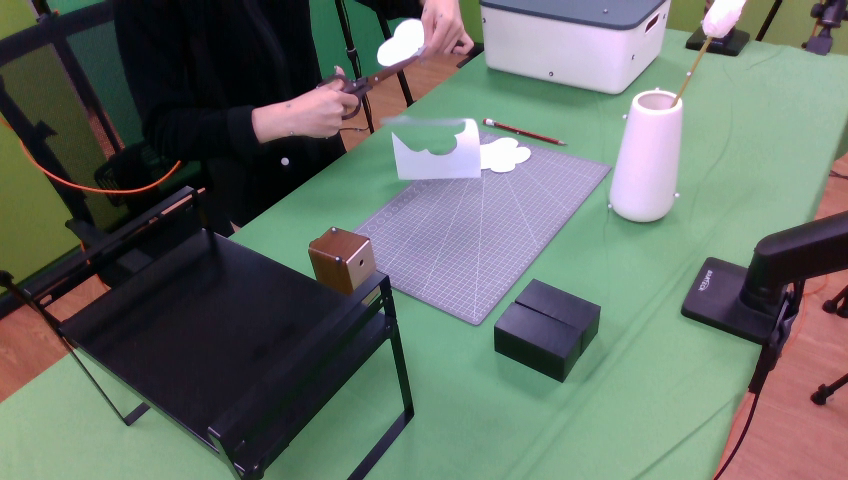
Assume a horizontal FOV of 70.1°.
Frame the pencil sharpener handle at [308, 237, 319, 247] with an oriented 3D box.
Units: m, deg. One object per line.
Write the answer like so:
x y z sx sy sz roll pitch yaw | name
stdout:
-0.159 0.017 0.892 0.030 0.068 0.036 18 60 28 | pencil sharpener handle

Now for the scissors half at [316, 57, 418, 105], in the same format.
-0.090 -0.256 0.954 0.175 0.040 0.013 -17 35 5 | scissors half

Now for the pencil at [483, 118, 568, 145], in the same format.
0.201 -0.217 1.212 0.192 0.012 0.012 24 49 29 | pencil

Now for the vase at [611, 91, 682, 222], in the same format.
0.348 -0.125 0.935 0.098 0.201 0.097 -3 40 3 | vase

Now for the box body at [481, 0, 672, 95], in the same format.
0.341 -0.480 1.381 0.361 0.161 0.255 22 48 30 | box body

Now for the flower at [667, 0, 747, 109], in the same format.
0.354 -0.187 0.879 0.038 0.362 0.044 30 48 14 | flower

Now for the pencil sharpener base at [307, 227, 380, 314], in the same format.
-0.116 0.043 0.875 0.076 0.107 0.061 18 47 28 | pencil sharpener base

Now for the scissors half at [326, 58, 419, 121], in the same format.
-0.081 -0.241 0.964 0.175 0.040 0.012 -32 28 14 | scissors half

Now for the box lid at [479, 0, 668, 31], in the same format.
0.335 -0.536 1.331 0.368 0.015 0.264 23 49 30 | box lid
